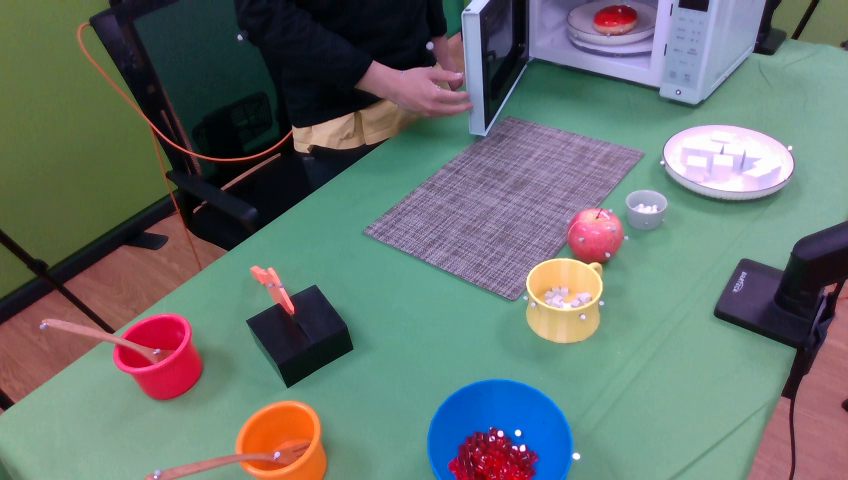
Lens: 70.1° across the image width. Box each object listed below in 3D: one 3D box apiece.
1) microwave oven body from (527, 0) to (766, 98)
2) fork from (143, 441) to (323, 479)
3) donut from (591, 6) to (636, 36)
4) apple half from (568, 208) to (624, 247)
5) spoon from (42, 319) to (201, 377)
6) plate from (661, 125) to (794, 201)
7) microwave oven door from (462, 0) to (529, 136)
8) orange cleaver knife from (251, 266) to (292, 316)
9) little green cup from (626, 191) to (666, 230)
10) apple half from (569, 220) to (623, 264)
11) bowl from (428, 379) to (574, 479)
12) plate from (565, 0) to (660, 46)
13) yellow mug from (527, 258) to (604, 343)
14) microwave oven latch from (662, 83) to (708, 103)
[{"bbox_3d":[0.472,-0.513,1.317,0.438,0.261,0.327,25,51,34],"label":"microwave oven body"},{"bbox_3d":[-0.189,0.231,0.631,0.028,0.018,0.209,35,13,37],"label":"fork"},{"bbox_3d":[0.427,-0.496,1.365,0.099,0.048,0.098,-5,40,5],"label":"donut"},{"bbox_3d":[0.259,-0.014,0.914,0.080,0.075,0.053,0,36,15],"label":"apple half"},{"bbox_3d":[-0.385,0.135,0.779,0.195,0.021,0.041,28,36,-26],"label":"spoon"},{"bbox_3d":[0.513,-0.128,1.035,0.207,0.039,0.206,-4,40,4],"label":"plate"},{"bbox_3d":[0.155,-0.410,1.236,0.039,0.245,0.356,10,43,20],"label":"microwave oven door"},{"bbox_3d":[-0.221,0.071,0.873,0.012,0.077,0.210,-25,11,-21],"label":"orange cleaver knife"},{"bbox_3d":[0.352,-0.046,0.963,0.061,0.039,0.061,-4,40,4],"label":"little green cup"},{"bbox_3d":[0.251,0.010,0.884,0.081,0.081,0.032,3,37,12],"label":"apple half"},{"bbox_3d":[0.082,0.233,0.644,0.151,0.077,0.150,-4,39,4],"label":"bowl"},{"bbox_3d":[0.427,-0.489,1.376,0.209,0.038,0.208,-5,40,5],"label":"plate"},{"bbox_3d":[0.202,0.072,0.825,0.131,0.064,0.099,-32,46,-27],"label":"yellow mug"},{"bbox_3d":[0.518,-0.296,1.204,0.078,0.029,0.030,27,52,35],"label":"microwave oven latch"}]
